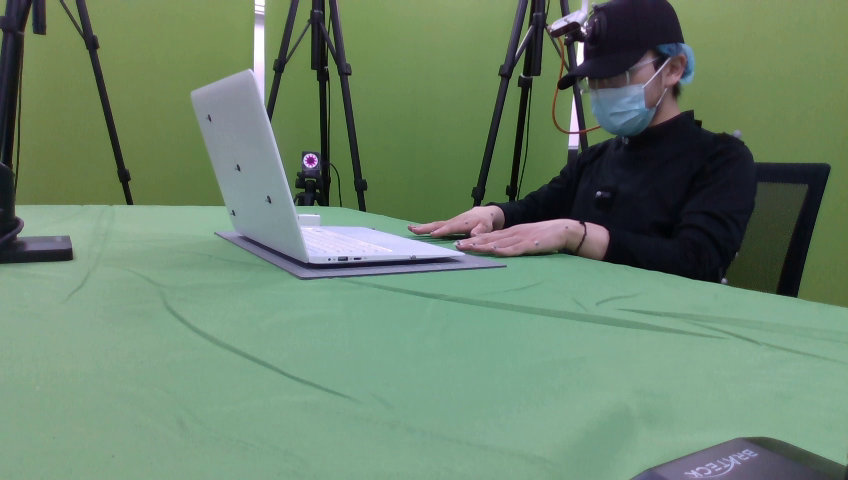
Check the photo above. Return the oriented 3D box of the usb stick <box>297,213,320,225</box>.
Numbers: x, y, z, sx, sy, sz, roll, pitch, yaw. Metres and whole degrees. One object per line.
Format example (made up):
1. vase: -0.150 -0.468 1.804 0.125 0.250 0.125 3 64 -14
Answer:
1. usb stick: -0.242 -0.040 1.221 0.059 0.027 0.021 -5 11 -28

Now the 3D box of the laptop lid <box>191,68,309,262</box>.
1. laptop lid: -0.254 -0.103 0.842 0.013 0.242 0.355 -22 20 -27

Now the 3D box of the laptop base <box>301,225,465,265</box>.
1. laptop base: -0.128 0.005 0.937 0.237 0.023 0.352 2 7 -32
